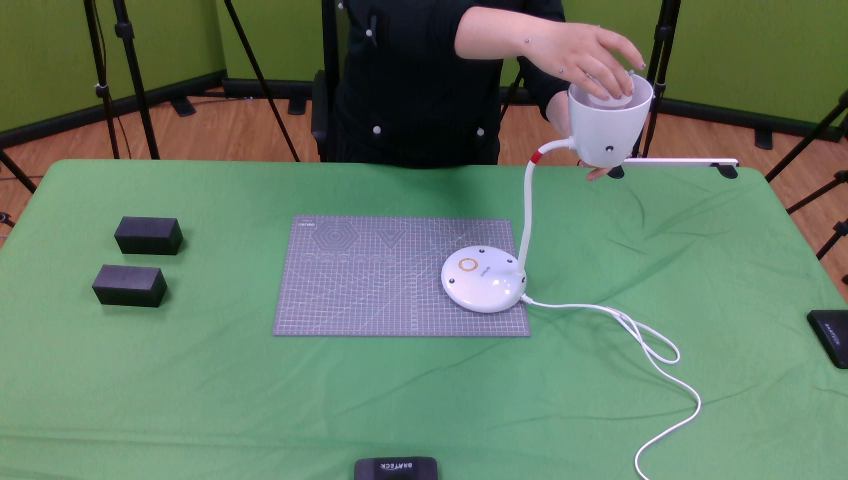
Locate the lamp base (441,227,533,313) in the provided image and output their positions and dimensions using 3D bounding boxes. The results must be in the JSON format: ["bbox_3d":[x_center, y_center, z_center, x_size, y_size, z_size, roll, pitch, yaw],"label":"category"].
[{"bbox_3d":[0.126,0.022,1.071,0.179,0.181,0.160,23,49,14],"label":"lamp base"}]

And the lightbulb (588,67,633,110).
[{"bbox_3d":[0.257,-0.186,0.840,0.059,0.108,0.059,-7,38,5],"label":"lightbulb"}]

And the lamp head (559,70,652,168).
[{"bbox_3d":[0.252,-0.163,0.860,0.112,0.123,0.111,0,43,0],"label":"lamp head"}]
